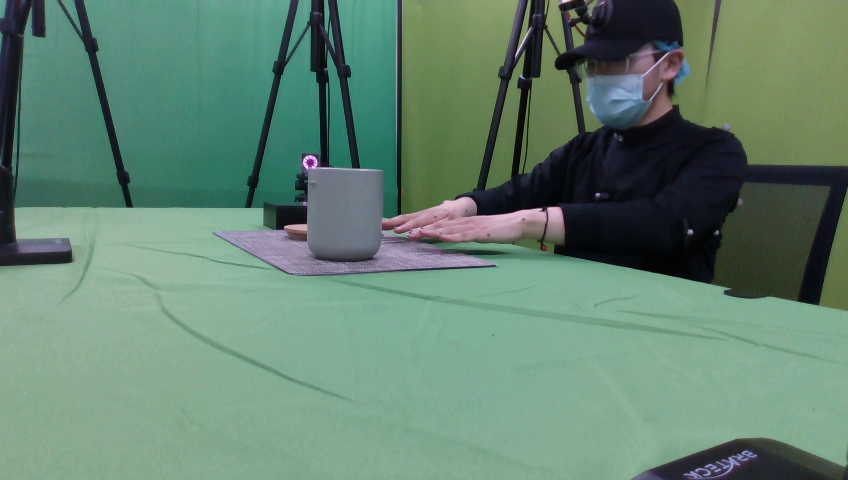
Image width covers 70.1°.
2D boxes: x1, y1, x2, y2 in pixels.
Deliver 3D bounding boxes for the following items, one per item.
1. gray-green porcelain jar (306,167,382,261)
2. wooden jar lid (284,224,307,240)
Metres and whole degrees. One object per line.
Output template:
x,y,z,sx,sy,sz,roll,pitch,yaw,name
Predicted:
-0.112,-0.039,0.850,0.106,0.126,0.106,2,7,0,gray-green porcelain jar
-0.190,-0.014,1.057,0.108,0.020,0.108,2,6,0,wooden jar lid
